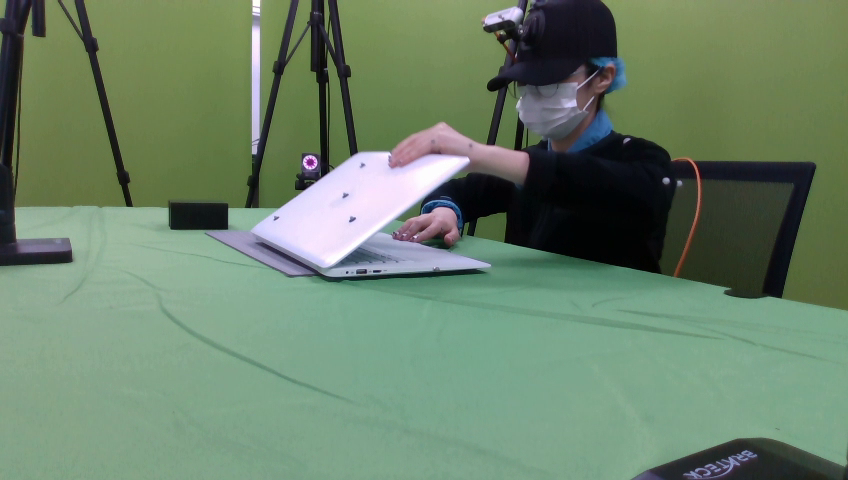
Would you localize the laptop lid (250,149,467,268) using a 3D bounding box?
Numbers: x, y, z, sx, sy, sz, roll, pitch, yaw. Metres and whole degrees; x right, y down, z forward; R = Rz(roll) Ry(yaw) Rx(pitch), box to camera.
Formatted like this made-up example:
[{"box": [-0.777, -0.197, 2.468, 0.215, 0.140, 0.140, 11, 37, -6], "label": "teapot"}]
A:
[{"box": [-0.113, -0.063, 0.866, 0.242, 0.013, 0.355, -39, 25, -17], "label": "laptop lid"}]

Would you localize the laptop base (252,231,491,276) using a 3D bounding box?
[{"box": [-0.095, 0.016, 0.888, 0.237, 0.023, 0.352, 2, 7, -30], "label": "laptop base"}]
